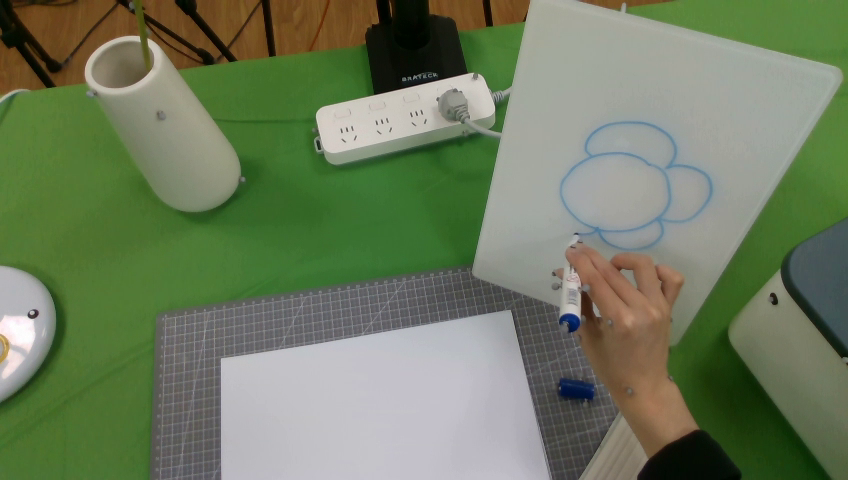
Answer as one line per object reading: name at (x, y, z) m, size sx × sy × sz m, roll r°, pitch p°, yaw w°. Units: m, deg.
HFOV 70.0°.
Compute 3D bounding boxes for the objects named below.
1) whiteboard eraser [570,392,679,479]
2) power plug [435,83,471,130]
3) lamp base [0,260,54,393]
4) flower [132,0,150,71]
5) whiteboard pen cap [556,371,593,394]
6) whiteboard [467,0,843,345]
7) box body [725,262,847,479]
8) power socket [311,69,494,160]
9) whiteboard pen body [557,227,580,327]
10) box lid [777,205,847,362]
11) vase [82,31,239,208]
whiteboard eraser at (0.175, 0.196, 0.540) m, size 0.055 × 0.042 × 0.112 m, roll 33°, pitch 70°, yaw 17°
power plug at (0.032, -0.146, 0.694) m, size 0.035 × 0.053 × 0.072 m, roll -4°, pitch 70°, yaw 0°
lamp base at (-0.477, 0.054, 0.554) m, size 0.178 × 0.182 × 0.160 m, roll 21°, pitch 66°, yaw 15°
flower at (-0.246, -0.147, 0.544) m, size 0.038 × 0.362 × 0.044 m, roll 38°, pitch 61°, yaw 0°
whiteboard pen cap at (0.144, 0.138, 0.583) m, size 0.033 × 0.018 × 0.018 m, roll 9°, pitch 64°, yaw 3°
whiteboard at (0.186, -0.080, 0.565) m, size 0.216 × 0.308 × 0.143 m, roll 20°, pitch 45°, yaw 12°
box body at (0.470, 0.135, 0.497) m, size 0.254 × 0.161 × 0.361 m, roll -26°, pitch 66°, yaw -10°
power socket at (-0.024, -0.150, 0.723) m, size 0.227 × 0.033 × 0.071 m, roll -13°, pitch 65°, yaw -5°
whiteboard pen body at (0.120, 0.024, 0.499) m, size 0.017 × 0.017 × 0.140 m, roll 12°, pitch 33°, yaw 8°
box lid at (0.466, 0.099, 0.430) m, size 0.263 × 0.015 × 0.368 m, roll -26°, pitch 66°, yaw -10°
vase at (-0.264, -0.115, 0.620) m, size 0.098 × 0.201 × 0.097 m, roll -1°, pitch 63°, yaw 3°
